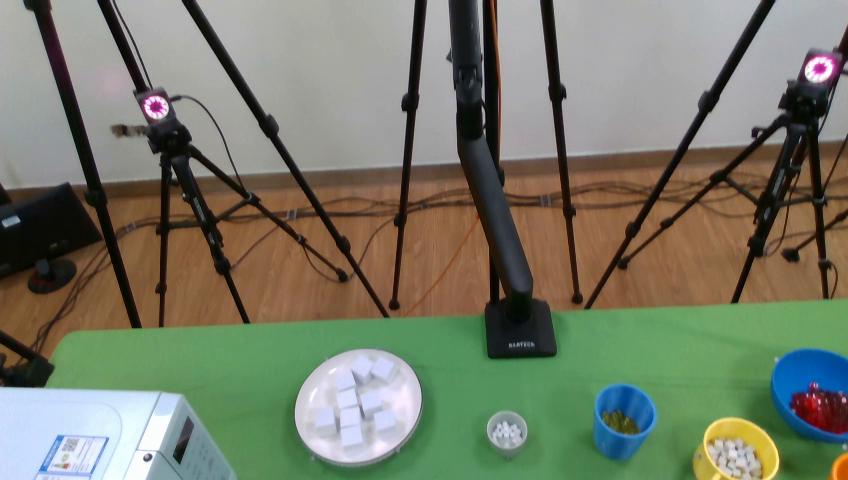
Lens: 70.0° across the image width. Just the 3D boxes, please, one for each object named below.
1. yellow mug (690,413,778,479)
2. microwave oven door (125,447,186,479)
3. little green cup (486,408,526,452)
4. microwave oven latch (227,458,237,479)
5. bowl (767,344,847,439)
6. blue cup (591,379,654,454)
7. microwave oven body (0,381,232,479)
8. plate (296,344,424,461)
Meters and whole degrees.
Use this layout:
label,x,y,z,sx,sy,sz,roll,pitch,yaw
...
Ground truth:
label,x,y,z,sx,sy,sz,roll,pitch,yaw
yellow mug,0.430,0.316,0.862,0.131,0.064,0.099,-34,52,-24
microwave oven door,-0.324,0.445,0.661,0.039,0.246,0.352,0,45,6
little green cup,0.126,0.295,0.935,0.061,0.039,0.061,-3,45,3
microwave oven latch,-0.297,0.361,0.886,0.030,0.030,0.078,1,46,7
bowl,0.591,0.240,0.913,0.151,0.077,0.150,-3,46,4
blue cup,0.287,0.269,0.899,0.092,0.101,0.091,-2,47,3
microwave oven body,-0.465,0.419,0.709,0.326,0.263,0.437,0,46,5
plate,-0.102,0.265,0.988,0.207,0.039,0.205,-3,45,3
